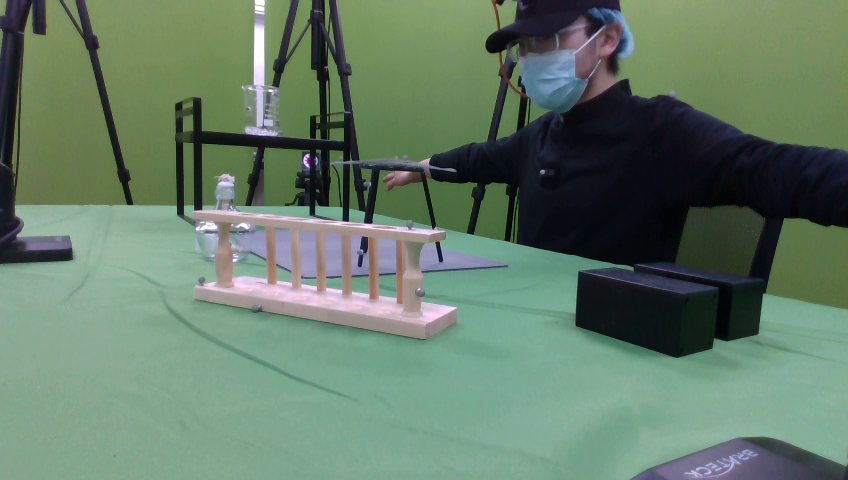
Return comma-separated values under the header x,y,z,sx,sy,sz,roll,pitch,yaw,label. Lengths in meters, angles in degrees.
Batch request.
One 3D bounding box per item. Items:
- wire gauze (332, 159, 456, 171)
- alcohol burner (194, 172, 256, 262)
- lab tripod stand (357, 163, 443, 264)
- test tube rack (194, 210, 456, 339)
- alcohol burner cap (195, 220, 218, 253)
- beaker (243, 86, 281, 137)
x,y,z,sx,sy,sz,roll,pitch,yaw,label
-0.042,-0.104,0.819,0.126,0.011,0.121,-3,9,-44,wire gauze
-0.264,-0.031,0.802,0.078,0.119,0.078,0,8,0,alcohol burner
-0.044,-0.038,0.830,0.148,0.131,0.148,3,6,0,lab tripod stand
-0.093,0.023,0.545,0.241,0.085,0.067,6,8,25,test tube rack
-0.316,-0.007,0.882,0.034,0.048,0.034,4,8,0,alcohol burner cap
-0.338,-0.265,1.252,0.073,0.100,0.084,8,9,38,beaker
